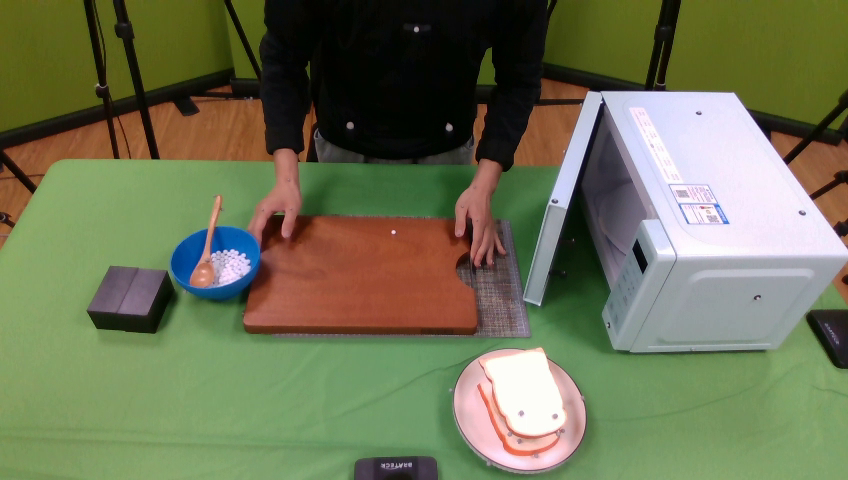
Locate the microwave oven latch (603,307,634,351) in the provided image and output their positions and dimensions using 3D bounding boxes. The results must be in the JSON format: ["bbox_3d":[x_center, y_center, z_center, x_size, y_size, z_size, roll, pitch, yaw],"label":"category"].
[{"bbox_3d":[0.332,0.153,1.044,0.030,0.029,0.078,0,45,-4],"label":"microwave oven latch"}]

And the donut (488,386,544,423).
[{"bbox_3d":[0.148,0.241,0.928,0.099,0.048,0.098,-3,41,2],"label":"donut"}]

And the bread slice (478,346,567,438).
[{"bbox_3d":[0.152,0.226,0.901,0.107,0.018,0.133,-11,54,-16],"label":"bread slice"}]

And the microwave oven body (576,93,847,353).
[{"bbox_3d":[0.475,-0.041,1.109,0.326,0.261,0.438,-1,45,-4],"label":"microwave oven body"}]

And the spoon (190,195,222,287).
[{"bbox_3d":[-0.384,0.000,1.088,0.041,0.022,0.193,0,66,7],"label":"spoon"}]

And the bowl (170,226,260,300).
[{"bbox_3d":[-0.365,0.054,1.080,0.151,0.077,0.150,2,45,-2],"label":"bowl"}]

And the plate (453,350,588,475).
[{"bbox_3d":[0.147,0.267,0.943,0.208,0.039,0.206,2,46,-2],"label":"plate"}]

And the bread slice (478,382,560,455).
[{"bbox_3d":[0.154,0.268,0.944,0.105,0.019,0.130,-10,47,-12],"label":"bread slice"}]

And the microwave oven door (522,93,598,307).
[{"bbox_3d":[0.259,-0.084,1.127,0.039,0.245,0.354,17,47,12],"label":"microwave oven door"}]
